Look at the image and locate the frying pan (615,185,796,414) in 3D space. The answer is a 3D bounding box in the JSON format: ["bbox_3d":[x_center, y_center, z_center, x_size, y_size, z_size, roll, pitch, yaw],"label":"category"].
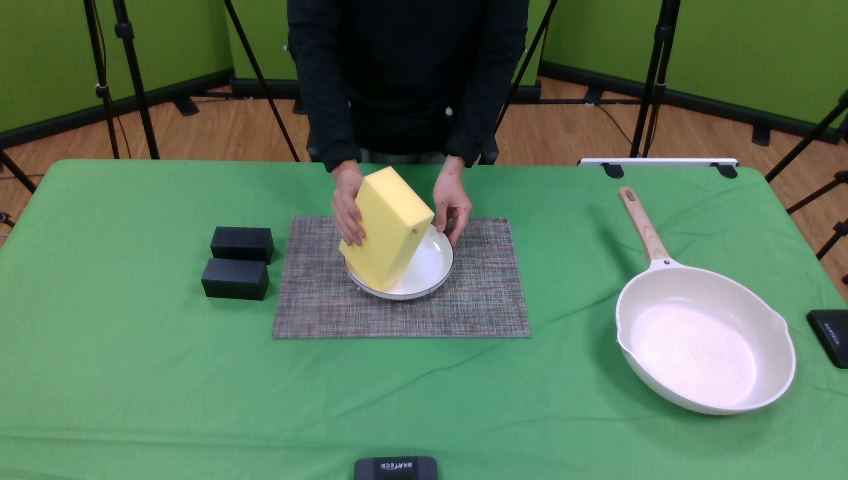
[{"bbox_3d":[0.450,0.087,1.092,0.307,0.103,0.484,-4,55,-10],"label":"frying pan"}]

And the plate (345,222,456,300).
[{"bbox_3d":[-0.045,0.036,1.146,0.208,0.039,0.206,2,46,-2],"label":"plate"}]

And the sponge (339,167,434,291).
[{"bbox_3d":[-0.072,-0.012,1.048,0.061,0.207,0.118,-30,70,-36],"label":"sponge"}]
